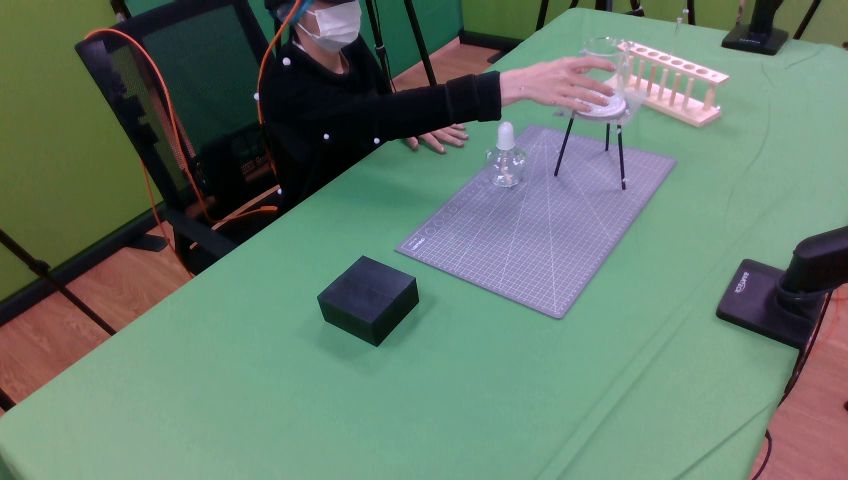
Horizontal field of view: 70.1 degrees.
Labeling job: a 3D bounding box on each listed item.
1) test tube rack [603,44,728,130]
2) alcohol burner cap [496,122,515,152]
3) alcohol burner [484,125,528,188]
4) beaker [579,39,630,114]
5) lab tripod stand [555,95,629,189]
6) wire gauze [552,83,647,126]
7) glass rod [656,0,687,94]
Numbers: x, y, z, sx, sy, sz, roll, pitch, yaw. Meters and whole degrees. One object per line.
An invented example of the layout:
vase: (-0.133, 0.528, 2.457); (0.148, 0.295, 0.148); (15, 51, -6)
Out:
test tube rack: (0.480, -0.316, 1.227); (0.067, 0.085, 0.240); (-28, 44, -22)
alcohol burner cap: (0.139, -0.179, 1.037); (0.034, 0.048, 0.033); (-4, 43, 4)
alcohol burner: (0.144, -0.152, 1.059); (0.078, 0.119, 0.077); (-3, 41, 3)
beaker: (0.290, -0.264, 0.975); (0.073, 0.101, 0.084); (18, 45, 27)
lab tripod stand: (0.300, -0.174, 1.045); (0.148, 0.132, 0.147); (-5, 38, 5)
wire gauze: (0.293, -0.224, 1.004); (0.120, 0.011, 0.125); (19, 43, 26)
glass rod: (0.491, -0.381, 1.199); (0.008, 0.200, 0.008); (1, 41, 0)
